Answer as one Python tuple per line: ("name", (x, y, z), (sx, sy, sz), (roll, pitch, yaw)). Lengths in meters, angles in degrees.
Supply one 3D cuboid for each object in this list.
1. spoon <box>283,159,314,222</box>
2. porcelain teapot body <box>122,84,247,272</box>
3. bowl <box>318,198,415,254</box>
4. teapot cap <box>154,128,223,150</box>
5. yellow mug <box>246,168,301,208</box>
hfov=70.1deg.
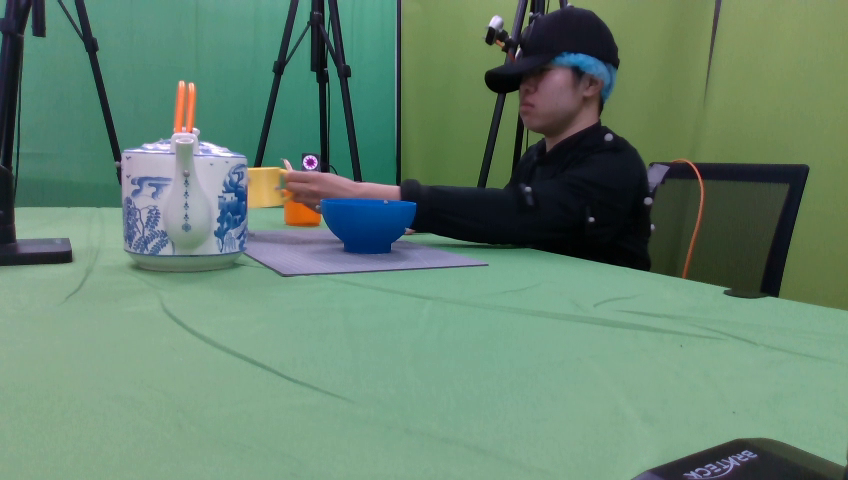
("spoon", (-0.280, -0.110, 1.323), (0.042, 0.193, 0.021), (1, -38, -35))
("porcelain teapot body", (-0.286, -0.075, 0.733), (0.146, 0.225, 0.204), (0, 8, -24))
("bowl", (-0.089, -0.022, 0.941), (0.151, 0.077, 0.151), (2, 7, 0))
("teapot cap", (-0.294, -0.117, 0.754), (0.085, 0.044, 0.085), (4, 9, 0))
("yellow mug", (-0.278, -0.093, 1.053), (0.131, 0.064, 0.099), (-7, 9, -32))
